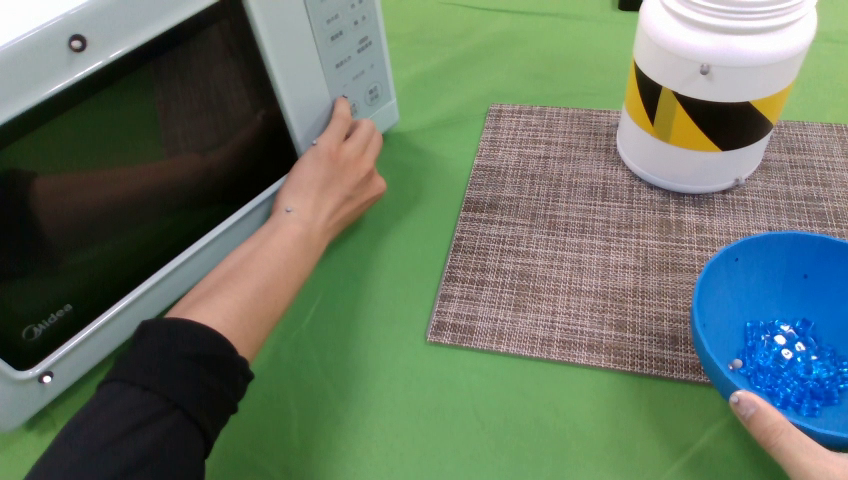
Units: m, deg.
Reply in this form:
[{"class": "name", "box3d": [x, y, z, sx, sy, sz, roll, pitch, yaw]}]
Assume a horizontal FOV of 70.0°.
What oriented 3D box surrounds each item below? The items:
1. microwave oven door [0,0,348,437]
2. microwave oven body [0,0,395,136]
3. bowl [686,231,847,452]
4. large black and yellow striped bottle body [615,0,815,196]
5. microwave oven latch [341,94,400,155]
[{"class": "microwave oven door", "box3d": [-0.214, -0.046, 0.434, 0.039, 0.246, 0.355, 30, 60, 29]}, {"class": "microwave oven body", "box3d": [-0.296, -0.134, 0.525, 0.323, 0.263, 0.441, 31, 61, 28]}, {"class": "bowl", "box3d": [0.245, 0.076, 0.398, 0.151, 0.077, 0.150, -4, 50, 5]}, {"class": "large black and yellow striped bottle body", "box3d": [0.239, -0.143, 0.511, 0.131, 0.186, 0.129, -4, 50, 5]}, {"class": "microwave oven latch", "box3d": [-0.060, -0.119, 0.608, 0.079, 0.030, 0.030, -39, 57, -22]}]
